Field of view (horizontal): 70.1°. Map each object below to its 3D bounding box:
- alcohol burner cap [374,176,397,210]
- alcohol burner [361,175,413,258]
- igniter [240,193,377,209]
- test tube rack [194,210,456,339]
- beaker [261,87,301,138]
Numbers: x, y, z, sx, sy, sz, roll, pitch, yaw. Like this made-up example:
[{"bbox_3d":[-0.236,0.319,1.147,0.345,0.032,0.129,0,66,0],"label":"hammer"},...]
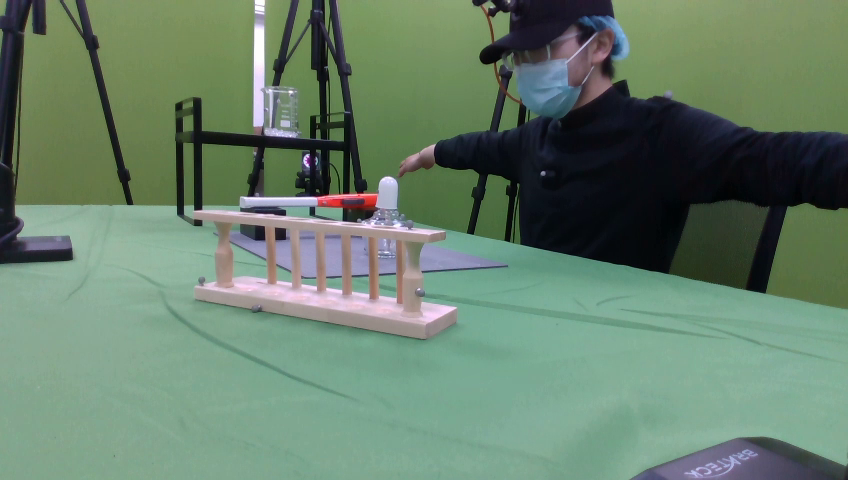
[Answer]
[{"bbox_3d":[-0.054,-0.068,0.866,0.034,0.048,0.034,6,10,-1],"label":"alcohol burner cap"},{"bbox_3d":[-0.054,-0.034,0.870,0.078,0.119,0.078,1,9,0],"label":"alcohol burner"},{"bbox_3d":[-0.188,-0.070,1.078,0.278,0.025,0.057,-5,11,-35],"label":"igniter"},{"bbox_3d":[-0.093,0.023,0.545,0.241,0.085,0.067,6,8,25],"label":"test tube rack"},{"bbox_3d":[-0.298,-0.263,1.255,0.084,0.100,0.073,-5,10,-40],"label":"beaker"}]
